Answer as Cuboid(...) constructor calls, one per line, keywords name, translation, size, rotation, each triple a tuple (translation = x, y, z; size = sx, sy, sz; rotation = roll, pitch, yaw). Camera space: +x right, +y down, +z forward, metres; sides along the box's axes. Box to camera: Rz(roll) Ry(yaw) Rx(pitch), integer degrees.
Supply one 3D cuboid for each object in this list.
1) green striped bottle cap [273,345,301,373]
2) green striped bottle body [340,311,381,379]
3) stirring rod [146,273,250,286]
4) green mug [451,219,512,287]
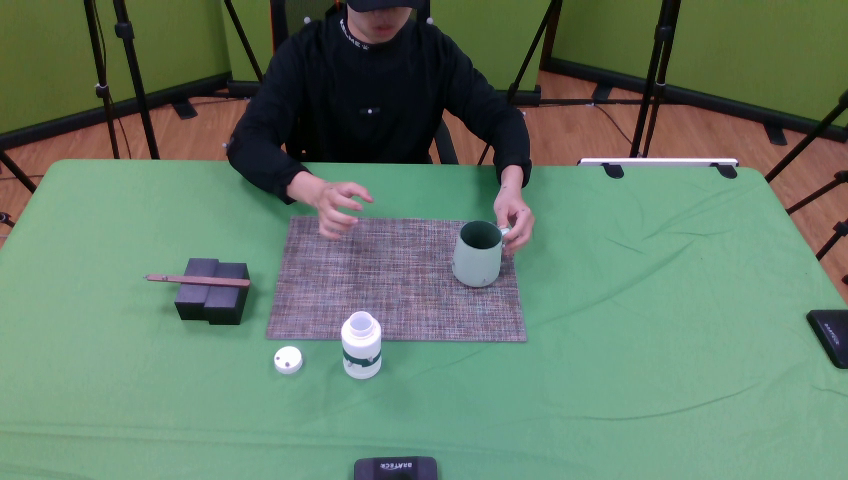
Cuboid(name="green striped bottle cap", translation=(-0.225, 0.195, 0.997), size=(0.044, 0.020, 0.044), rotation=(2, 50, -3))
Cuboid(name="green striped bottle body", translation=(-0.101, 0.164, 0.964), size=(0.063, 0.120, 0.063), rotation=(2, 46, -2))
Cuboid(name="stirring rod", translation=(-0.389, 0.068, 1.044), size=(0.176, 0.006, 0.014), rotation=(3, 45, -2))
Cuboid(name="green mug", translation=(0.112, 0.019, 1.125), size=(0.125, 0.105, 0.092), rotation=(-24, 52, -24))
